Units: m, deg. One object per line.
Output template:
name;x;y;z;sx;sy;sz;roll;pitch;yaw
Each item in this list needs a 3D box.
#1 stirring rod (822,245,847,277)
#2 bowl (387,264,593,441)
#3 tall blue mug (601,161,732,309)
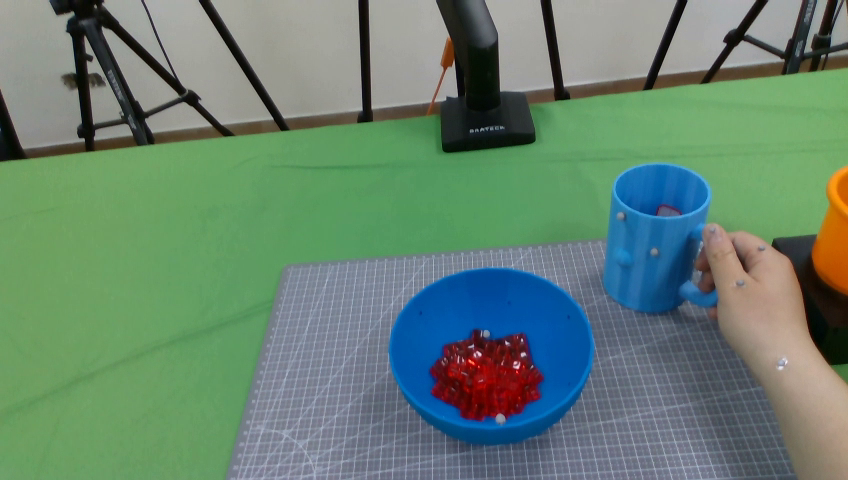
stirring rod;0.371;-0.034;0.443;0.176;0.006;0.014;-47;36;22
bowl;0.051;0.097;0.468;0.151;0.077;0.150;-5;41;5
tall blue mug;0.212;0.001;0.525;0.106;0.109;0.077;15;46;24
